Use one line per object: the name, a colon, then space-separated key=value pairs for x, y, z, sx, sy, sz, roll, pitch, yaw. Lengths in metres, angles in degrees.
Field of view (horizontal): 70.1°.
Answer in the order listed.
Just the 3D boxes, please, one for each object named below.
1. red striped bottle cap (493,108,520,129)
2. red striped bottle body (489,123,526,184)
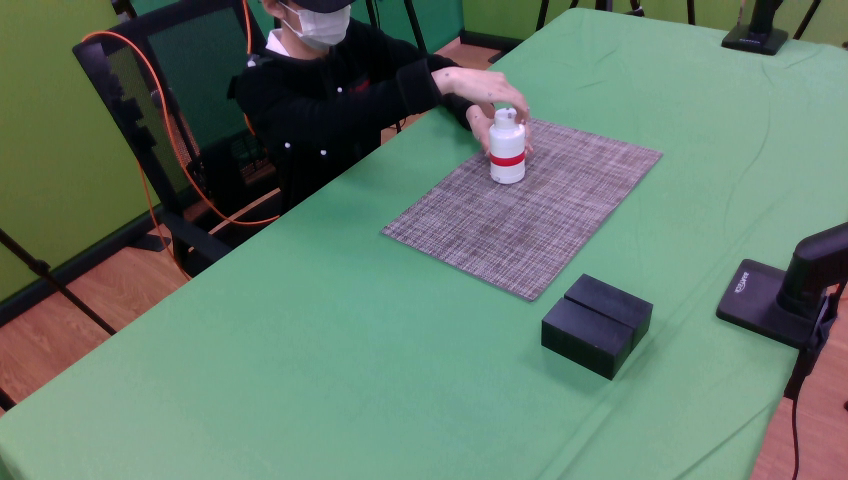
red striped bottle cap: x=0.141 y=-0.208 z=1.027 sx=0.044 sy=0.018 sz=0.044 roll=-1 pitch=40 yaw=1
red striped bottle body: x=0.147 y=-0.163 z=1.064 sx=0.063 sy=0.120 sz=0.062 roll=-5 pitch=39 yaw=4
